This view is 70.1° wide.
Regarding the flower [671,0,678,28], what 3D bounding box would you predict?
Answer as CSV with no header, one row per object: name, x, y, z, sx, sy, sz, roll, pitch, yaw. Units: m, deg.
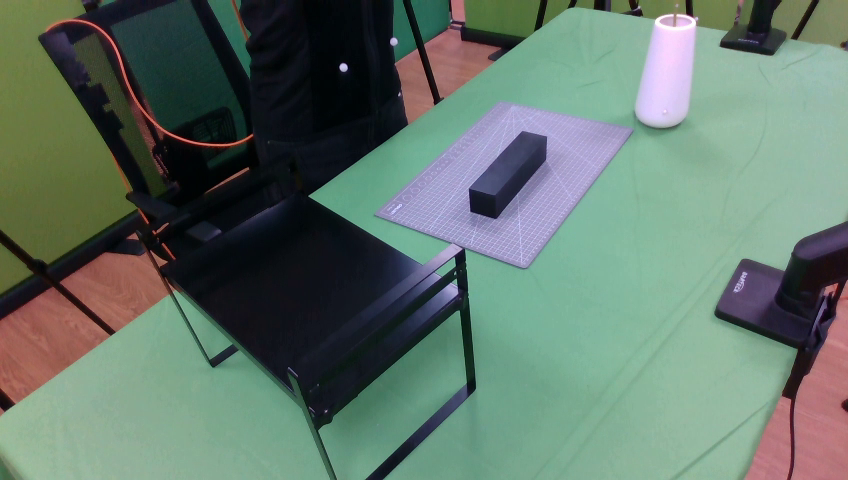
flower,0.440,-0.361,1.068,0.043,0.364,0.038,36,75,31

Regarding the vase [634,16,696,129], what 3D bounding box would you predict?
vase,0.455,-0.310,1.133,0.098,0.201,0.097,-4,42,4
